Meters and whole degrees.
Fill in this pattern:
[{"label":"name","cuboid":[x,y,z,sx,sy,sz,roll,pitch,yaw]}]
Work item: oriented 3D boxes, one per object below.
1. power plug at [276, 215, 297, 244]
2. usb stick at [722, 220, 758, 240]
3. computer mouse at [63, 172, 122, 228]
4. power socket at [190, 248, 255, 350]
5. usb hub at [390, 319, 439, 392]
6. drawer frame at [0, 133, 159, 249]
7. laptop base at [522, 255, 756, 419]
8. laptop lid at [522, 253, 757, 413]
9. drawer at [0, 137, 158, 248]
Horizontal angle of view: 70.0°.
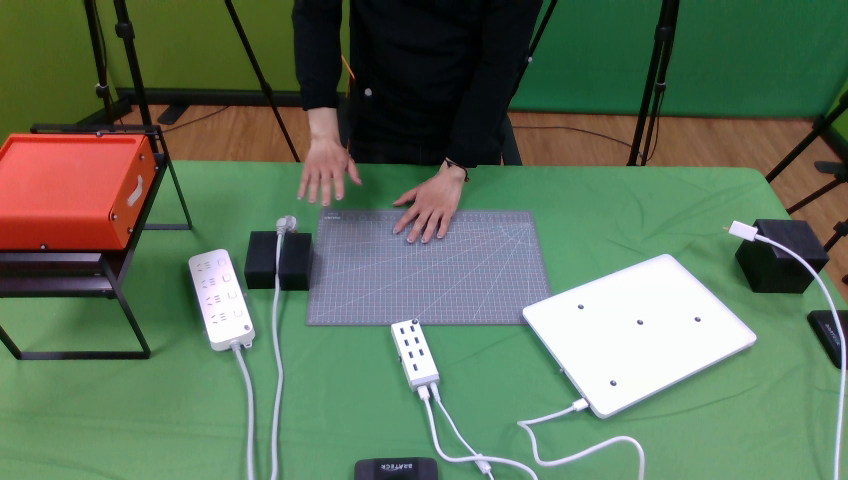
[{"label":"power plug","cuboid":[-0.267,-0.015,1.157,0.035,0.053,0.072,7,63,26]},{"label":"usb stick","cuboid":[0.593,-0.021,1.139,0.059,0.027,0.021,22,12,29]},{"label":"computer mouse","cuboid":[-0.522,-0.067,0.955,0.063,0.041,0.116,0,48,-9]},{"label":"power socket","cuboid":[-0.358,0.100,1.069,0.072,0.033,0.225,-17,51,-18]},{"label":"usb hub","cuboid":[-0.016,0.190,1.013,0.049,0.025,0.124,-11,48,-15]},{"label":"drawer frame","cuboid":[-0.553,-0.078,0.942,0.214,0.083,0.200,-1,47,-4]},{"label":"laptop base","cuboid":[0.380,0.157,1.081,0.355,0.023,0.234,-18,48,-21]},{"label":"laptop lid","cuboid":[0.380,0.147,1.073,0.357,0.013,0.240,-17,48,-19]},{"label":"drawer","cuboid":[-0.549,-0.079,0.944,0.212,0.073,0.193,0,47,-3]}]
